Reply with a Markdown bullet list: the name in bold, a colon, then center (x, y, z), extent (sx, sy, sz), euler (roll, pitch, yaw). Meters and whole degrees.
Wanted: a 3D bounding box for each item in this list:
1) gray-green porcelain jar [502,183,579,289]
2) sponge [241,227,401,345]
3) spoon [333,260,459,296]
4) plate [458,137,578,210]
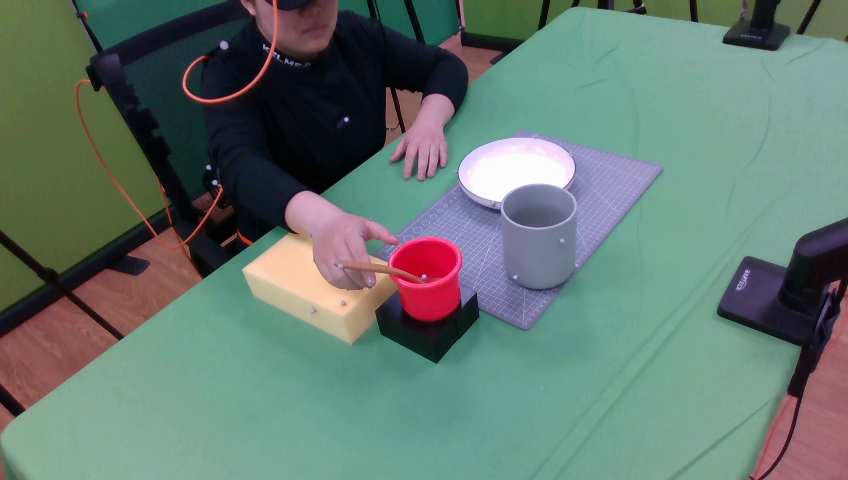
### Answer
- **gray-green porcelain jar**: center (0.166, -0.001, 0.866), extent (0.106, 0.127, 0.105), euler (-5, 40, 5)
- **sponge**: center (-0.154, 0.063, 0.907), extent (0.205, 0.061, 0.118), euler (19, 47, 29)
- **spoon**: center (-0.031, 0.045, 0.762), extent (0.195, 0.021, 0.041), euler (19, 20, -39)
- **plate**: center (0.166, -0.113, 1.068), extent (0.207, 0.039, 0.206), euler (-5, 40, 5)
